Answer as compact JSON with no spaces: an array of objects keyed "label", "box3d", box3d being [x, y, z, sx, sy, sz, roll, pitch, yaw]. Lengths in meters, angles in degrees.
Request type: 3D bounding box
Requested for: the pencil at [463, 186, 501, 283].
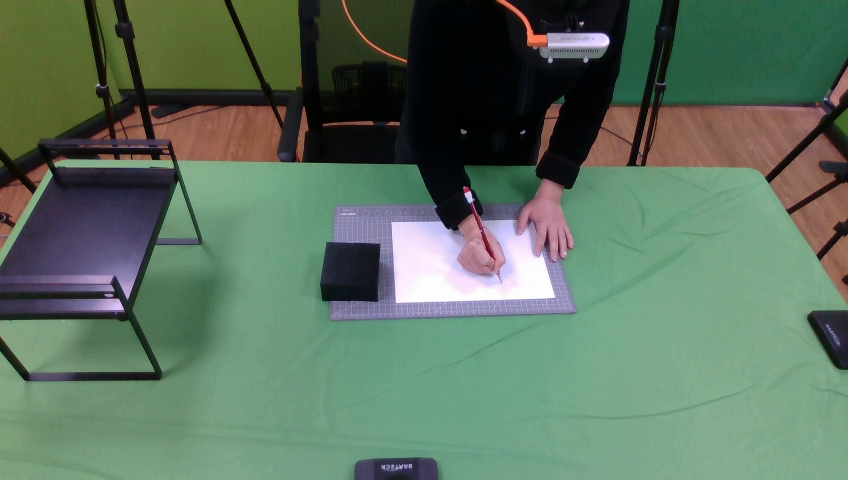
[{"label":"pencil","box3d":[0.110,-0.009,1.124,0.012,0.194,0.012,-20,9,4]}]
